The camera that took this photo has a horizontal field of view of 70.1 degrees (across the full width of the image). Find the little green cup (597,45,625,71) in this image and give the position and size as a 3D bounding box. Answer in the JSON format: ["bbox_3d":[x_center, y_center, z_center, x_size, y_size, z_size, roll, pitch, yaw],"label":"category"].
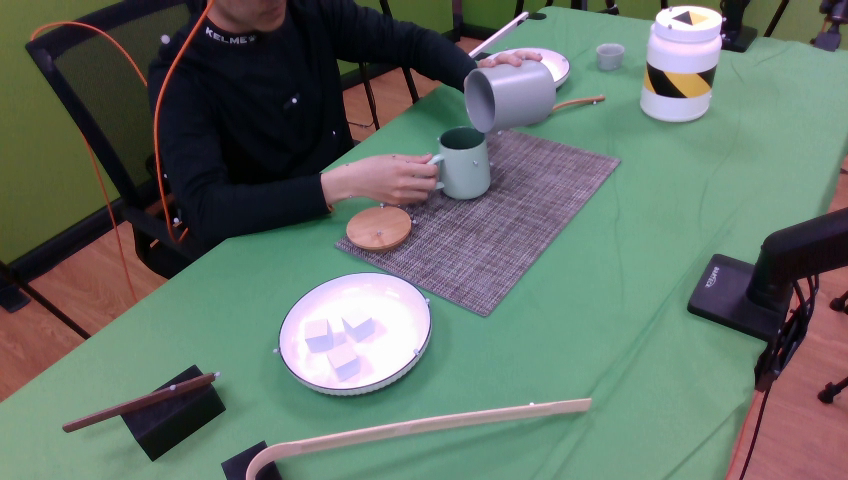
[{"bbox_3d":[0.423,-0.413,1.375,0.061,0.039,0.061,-3,41,3],"label":"little green cup"}]

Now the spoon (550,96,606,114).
[{"bbox_3d":[0.291,-0.276,1.249,0.194,0.022,0.041,-17,26,-11],"label":"spoon"}]

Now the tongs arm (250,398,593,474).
[{"bbox_3d":[0.008,0.212,0.675,0.389,0.028,0.028,-5,46,-11],"label":"tongs arm"}]

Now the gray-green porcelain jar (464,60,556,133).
[{"bbox_3d":[0.147,-0.242,1.012,0.127,0.106,0.105,-16,41,-21],"label":"gray-green porcelain jar"}]

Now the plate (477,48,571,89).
[{"bbox_3d":[0.223,-0.371,1.357,0.209,0.038,0.208,-4,41,4],"label":"plate"}]

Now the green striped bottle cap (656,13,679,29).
[{"bbox_3d":[0.515,-0.463,1.278,0.044,0.020,0.044,-6,42,6],"label":"green striped bottle cap"}]

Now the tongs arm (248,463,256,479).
[{"bbox_3d":[0.012,0.262,0.614,0.385,0.026,0.050,3,42,-2],"label":"tongs arm"}]

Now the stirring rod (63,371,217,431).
[{"bbox_3d":[-0.337,0.192,0.723,0.177,0.014,0.005,-18,43,-12],"label":"stirring rod"}]

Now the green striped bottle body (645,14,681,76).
[{"bbox_3d":[0.520,-0.424,1.312,0.063,0.120,0.063,-4,41,4],"label":"green striped bottle body"}]

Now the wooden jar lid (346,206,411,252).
[{"bbox_3d":[-0.074,-0.017,0.996,0.108,0.021,0.108,-3,39,3],"label":"wooden jar lid"}]

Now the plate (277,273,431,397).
[{"bbox_3d":[-0.091,0.129,0.821,0.207,0.039,0.206,-4,40,4],"label":"plate"}]

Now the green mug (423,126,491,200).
[{"bbox_3d":[0.055,-0.125,1.039,0.126,0.105,0.091,-25,44,-19],"label":"green mug"}]

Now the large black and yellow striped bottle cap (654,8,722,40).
[{"bbox_3d":[0.483,-0.397,1.108,0.115,0.019,0.114,-3,41,3],"label":"large black and yellow striped bottle cap"}]

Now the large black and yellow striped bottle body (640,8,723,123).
[{"bbox_3d":[0.493,-0.334,1.161,0.131,0.185,0.130,-4,41,4],"label":"large black and yellow striped bottle body"}]
